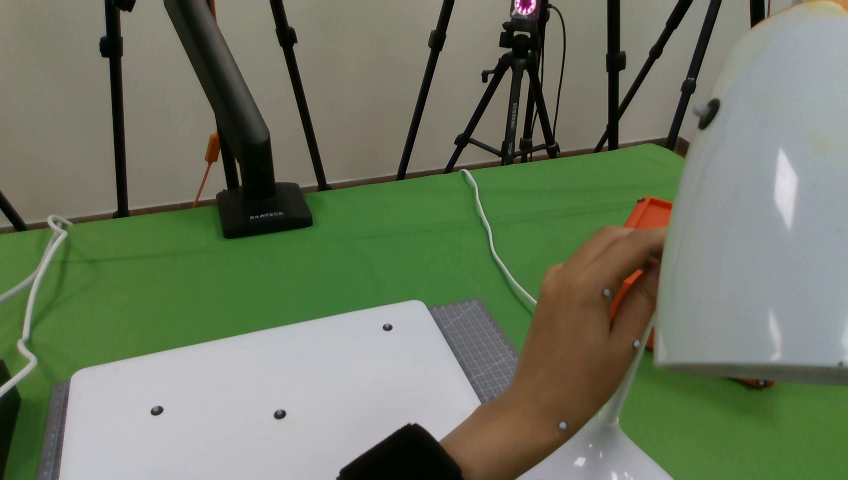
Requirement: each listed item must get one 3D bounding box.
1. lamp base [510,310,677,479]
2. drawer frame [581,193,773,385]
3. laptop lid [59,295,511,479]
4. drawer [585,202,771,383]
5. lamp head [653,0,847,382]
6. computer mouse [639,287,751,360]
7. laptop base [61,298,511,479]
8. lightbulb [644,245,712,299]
[{"bbox_3d":[0.142,0.153,0.435,0.161,0.181,0.177,1,33,-3],"label":"lamp base"},{"bbox_3d":[0.315,0.043,0.709,0.200,0.083,0.213,18,35,23],"label":"drawer frame"},{"bbox_3d":[-0.127,0.154,0.541,0.358,0.013,0.239,-9,37,-18],"label":"laptop lid"},{"bbox_3d":[0.315,0.046,0.707,0.193,0.074,0.211,18,35,24],"label":"drawer"},{"bbox_3d":[0.133,-0.012,0.199,0.112,0.113,0.122,5,73,3],"label":"lamp head"},{"bbox_3d":[0.297,0.089,0.664,0.117,0.041,0.062,18,35,14],"label":"computer mouse"},{"bbox_3d":[-0.128,0.162,0.549,0.355,0.023,0.232,-10,39,-19],"label":"laptop base"},{"bbox_3d":[0.307,0.042,0.726,0.059,0.060,0.107,-3,17,-8],"label":"lightbulb"}]
